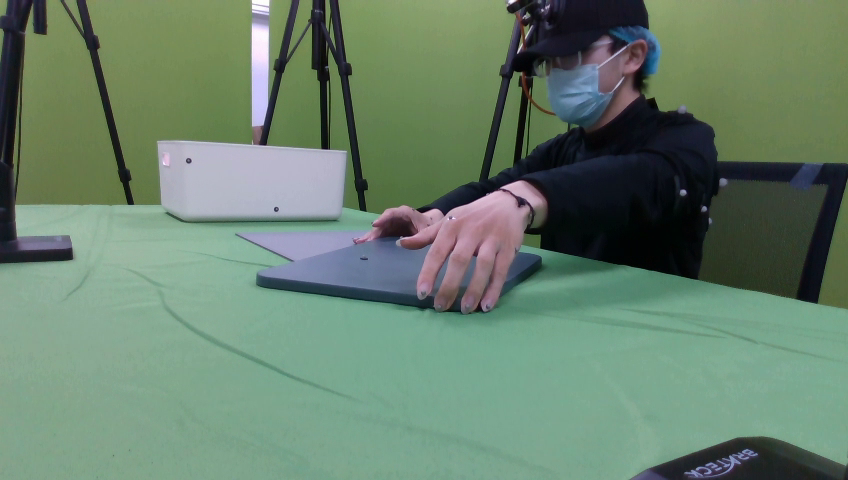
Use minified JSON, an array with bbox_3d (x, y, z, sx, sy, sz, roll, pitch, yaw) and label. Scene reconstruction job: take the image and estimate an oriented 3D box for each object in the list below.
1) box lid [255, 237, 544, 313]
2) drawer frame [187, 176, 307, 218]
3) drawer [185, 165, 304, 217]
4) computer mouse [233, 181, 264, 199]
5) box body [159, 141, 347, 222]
[{"bbox_3d":[-0.004,0.033,0.769,0.262,0.015,0.373,7,9,20],"label":"box lid"},{"bbox_3d":[-0.397,-0.099,1.347,0.203,0.082,0.212,-3,8,-37],"label":"drawer frame"},{"bbox_3d":[-0.403,-0.107,1.354,0.195,0.073,0.211,-9,-3,-38],"label":"drawer"},{"bbox_3d":[-0.357,-0.103,1.270,0.062,0.041,0.117,1,0,18],"label":"computer mouse"},{"bbox_3d":[-0.384,-0.133,1.359,0.366,0.160,0.253,-2,9,-33],"label":"box body"}]
